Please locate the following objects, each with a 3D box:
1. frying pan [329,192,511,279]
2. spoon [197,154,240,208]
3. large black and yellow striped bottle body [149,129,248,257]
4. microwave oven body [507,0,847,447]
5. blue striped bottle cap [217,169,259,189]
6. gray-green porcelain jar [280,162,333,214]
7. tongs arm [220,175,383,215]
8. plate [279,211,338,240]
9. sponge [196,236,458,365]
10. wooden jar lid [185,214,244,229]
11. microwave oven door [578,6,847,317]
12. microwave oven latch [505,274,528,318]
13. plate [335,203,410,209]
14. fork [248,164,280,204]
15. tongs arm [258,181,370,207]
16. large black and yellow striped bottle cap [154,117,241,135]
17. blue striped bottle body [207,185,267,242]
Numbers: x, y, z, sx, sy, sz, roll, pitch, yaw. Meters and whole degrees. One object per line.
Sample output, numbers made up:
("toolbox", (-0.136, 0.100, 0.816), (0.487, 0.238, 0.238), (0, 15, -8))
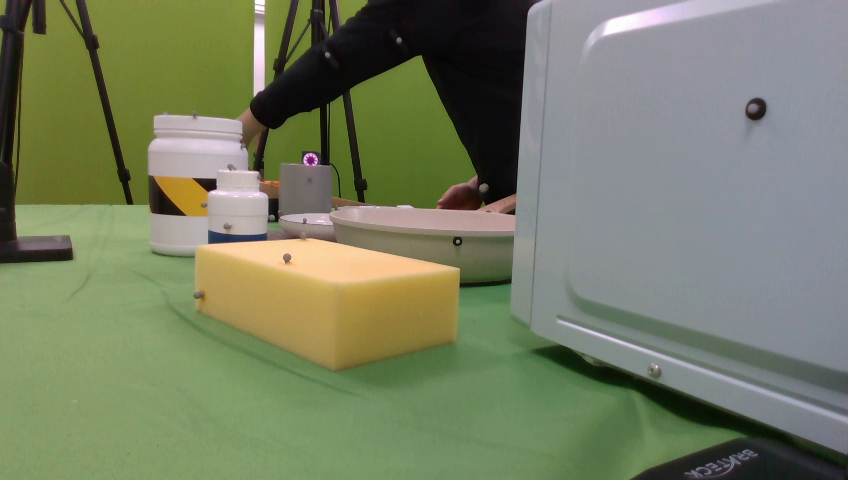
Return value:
("frying pan", (0.072, -0.030, 0.883), (0.305, 0.102, 0.490), (7, 17, 27))
("spoon", (-0.482, -0.134, 1.413), (0.041, 0.194, 0.021), (8, 54, 19))
("large black and yellow striped bottle body", (-0.315, -0.075, 0.854), (0.131, 0.184, 0.130), (2, 8, 0))
("microwave oven body", (0.331, -0.042, 0.425), (0.444, 0.260, 0.324), (-2, 8, -31))
("blue striped bottle cap", (-0.202, -0.067, 0.656), (0.044, 0.020, 0.044), (0, 10, 0))
("gray-green porcelain jar", (-0.238, -0.092, 1.221), (0.106, 0.126, 0.106), (2, 7, 0))
("tongs arm", (-0.285, -0.105, 1.445), (0.389, 0.027, 0.028), (10, -3, -23))
("plate", (-0.139, -0.022, 1.021), (0.209, 0.038, 0.209), (2, 8, 0))
("sponge", (-0.087, 0.039, 0.500), (0.206, 0.061, 0.119), (8, 9, 44))
("wooden jar lid", (-0.404, -0.037, 1.169), (0.108, 0.020, 0.108), (3, 7, 0))
("microwave oven door", (0.294, -0.067, 0.570), (0.358, 0.243, 0.039), (-3, 9, -31))
("microwave oven latch", (0.100, 0.041, 0.472), (0.079, 0.029, 0.030), (-2, 8, -30))
("plate", (-0.089, -0.053, 1.309), (0.208, 0.039, 0.207), (2, 8, 0))
("fork", (-0.398, -0.143, 1.488), (0.028, 0.018, 0.208), (18, -27, 46))
("tongs arm", (-0.241, -0.095, 1.374), (0.387, 0.026, 0.050), (9, 0, -37))
("large black and yellow striped bottle cap", (-0.314, -0.158, 0.843), (0.115, 0.019, 0.115), (3, 7, 0))
("blue striped bottle body", (-0.204, -0.016, 0.663), (0.063, 0.120, 0.063), (2, 7, 0))
